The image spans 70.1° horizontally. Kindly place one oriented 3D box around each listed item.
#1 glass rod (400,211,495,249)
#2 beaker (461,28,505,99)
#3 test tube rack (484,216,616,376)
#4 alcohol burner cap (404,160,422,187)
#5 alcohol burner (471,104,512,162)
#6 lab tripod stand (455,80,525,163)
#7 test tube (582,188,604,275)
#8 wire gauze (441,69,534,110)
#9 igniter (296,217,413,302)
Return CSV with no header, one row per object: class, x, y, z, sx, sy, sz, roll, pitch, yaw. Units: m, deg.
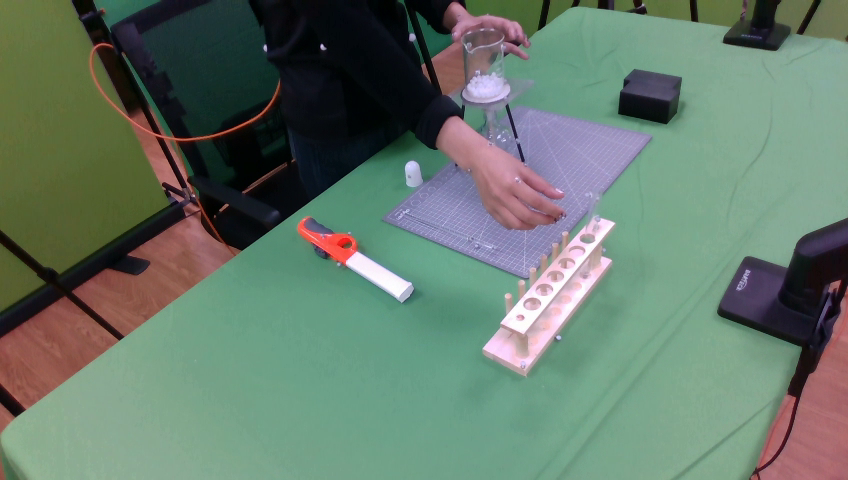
glass rod,0.035,-0.018,1.001,0.198,0.008,0.008,22,50,35
beaker,0.103,-0.304,1.051,0.073,0.101,0.084,19,48,28
test tube rack,0.174,0.064,0.823,0.066,0.085,0.243,23,49,32
alcohol burner cap,-0.022,-0.125,1.118,0.034,0.048,0.033,-5,40,4
alcohol burner,0.124,-0.206,1.125,0.078,0.119,0.077,-5,42,5
lab tripod stand,0.121,-0.219,1.126,0.148,0.132,0.147,-4,40,4
test tube,0.229,-0.007,0.821,0.017,0.151,0.017,-3,42,3
wire gauze,0.114,-0.268,1.082,0.120,0.011,0.125,22,47,29
igniter,-0.121,0.025,0.970,0.274,0.025,0.057,29,63,37
